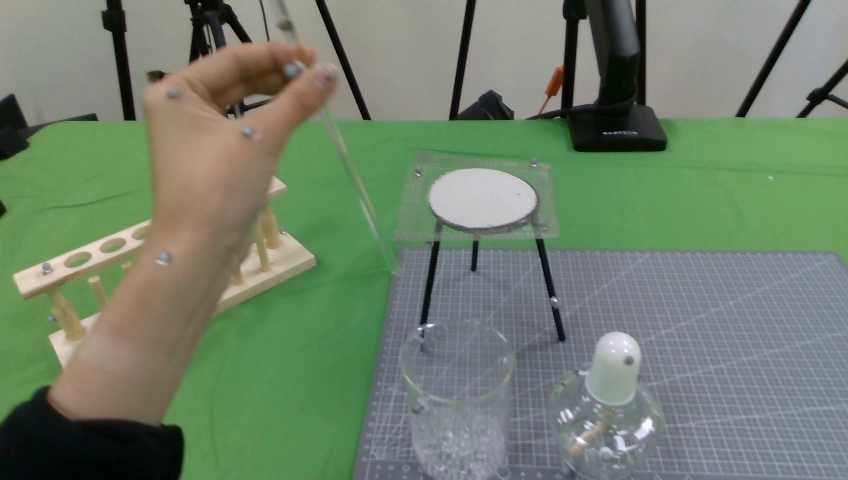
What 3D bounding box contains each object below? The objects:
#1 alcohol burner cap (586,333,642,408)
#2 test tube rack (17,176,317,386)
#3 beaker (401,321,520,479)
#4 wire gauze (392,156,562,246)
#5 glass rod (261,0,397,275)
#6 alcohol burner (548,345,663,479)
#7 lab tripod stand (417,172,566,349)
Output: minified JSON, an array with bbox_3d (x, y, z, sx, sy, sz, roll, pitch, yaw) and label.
[{"bbox_3d":[0.124,0.081,0.388,0.034,0.048,0.033,0,38,0],"label":"alcohol burner cap"},{"bbox_3d":[-0.228,0.030,0.573,0.242,0.086,0.066,-27,43,-29],"label":"test tube rack"},{"bbox_3d":[0.023,0.116,0.422,0.074,0.101,0.083,-29,43,-30],"label":"beaker"},{"bbox_3d":[0.044,-0.033,0.479,0.121,0.011,0.124,3,37,7],"label":"wire gauze"},{"bbox_3d":[-0.050,-0.052,0.336,0.008,0.202,0.008,-13,39,11],"label":"glass rod"},{"bbox_3d":[0.124,0.109,0.410,0.078,0.120,0.077,-2,39,2],"label":"alcohol burner"},{"bbox_3d":[0.056,0.020,0.520,0.148,0.132,0.147,-1,36,1],"label":"lab tripod stand"}]
